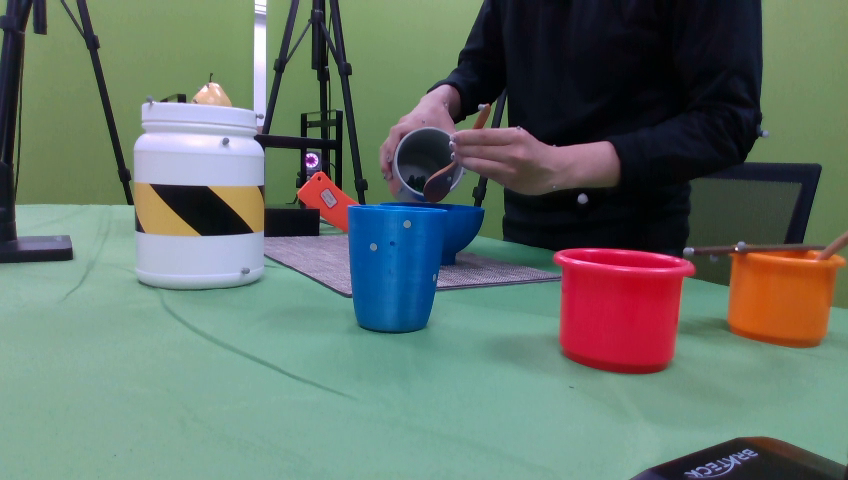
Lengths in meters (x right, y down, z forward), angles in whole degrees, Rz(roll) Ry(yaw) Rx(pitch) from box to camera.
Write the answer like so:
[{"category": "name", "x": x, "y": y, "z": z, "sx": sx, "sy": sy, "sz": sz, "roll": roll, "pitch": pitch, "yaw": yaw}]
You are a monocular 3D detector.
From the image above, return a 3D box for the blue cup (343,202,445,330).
[{"category": "blue cup", "x": -0.027, "y": 0.021, "z": 0.510, "sx": 0.093, "sy": 0.100, "sz": 0.092, "roll": 3, "pitch": 5, "yaw": 0}]

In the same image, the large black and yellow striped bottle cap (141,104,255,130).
[{"category": "large black and yellow striped bottle cap", "x": -0.241, "y": -0.131, "z": 0.650, "sx": 0.115, "sy": 0.019, "sz": 0.115, "roll": 3, "pitch": 8, "yaw": 0}]

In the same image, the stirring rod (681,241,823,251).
[{"category": "stirring rod", "x": 0.289, "y": 0.005, "z": 0.525, "sx": 0.177, "sy": 0.006, "sz": 0.014, "roll": -1, "pitch": 5, "yaw": -26}]

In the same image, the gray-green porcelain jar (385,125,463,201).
[{"category": "gray-green porcelain jar", "x": -0.004, "y": -0.109, "z": 0.937, "sx": 0.106, "sy": 0.105, "sz": 0.126, "roll": 1, "pitch": -6, "yaw": -11}]

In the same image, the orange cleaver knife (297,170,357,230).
[{"category": "orange cleaver knife", "x": -0.149, "y": -0.058, "z": 1.170, "sx": 0.212, "sy": 0.077, "sz": 0.012, "roll": 33, "pitch": -15, "yaw": -32}]

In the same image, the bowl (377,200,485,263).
[{"category": "bowl", "x": 0.008, "y": -0.012, "z": 0.841, "sx": 0.151, "sy": 0.077, "sz": 0.151, "roll": 2, "pitch": 8, "yaw": 0}]

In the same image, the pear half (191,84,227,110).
[{"category": "pear half", "x": -0.406, "y": -0.248, "z": 1.128, "sx": 0.070, "sy": 0.088, "sz": 0.031, "roll": 5, "pitch": 7, "yaw": 1}]

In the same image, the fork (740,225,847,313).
[{"category": "fork", "x": 0.323, "y": 0.013, "z": 0.485, "sx": 0.028, "sy": 0.018, "sz": 0.207, "roll": 9, "pitch": -37, "yaw": -5}]

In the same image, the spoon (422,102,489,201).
[{"category": "spoon", "x": 0.043, "y": -0.111, "z": 0.791, "sx": 0.042, "sy": 0.021, "sz": 0.193, "roll": 2, "pitch": -29, "yaw": -23}]

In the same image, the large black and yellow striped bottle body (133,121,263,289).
[{"category": "large black and yellow striped bottle body", "x": -0.243, "y": -0.048, "z": 0.659, "sx": 0.131, "sy": 0.184, "sz": 0.130, "roll": 2, "pitch": 7, "yaw": 0}]

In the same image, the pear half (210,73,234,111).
[{"category": "pear half", "x": -0.402, "y": -0.262, "z": 1.162, "sx": 0.076, "sy": 0.109, "sz": 0.056, "roll": 6, "pitch": 7, "yaw": 2}]

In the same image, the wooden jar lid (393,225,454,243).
[{"category": "wooden jar lid", "x": -0.001, "y": -0.011, "z": 1.058, "sx": 0.108, "sy": 0.020, "sz": 0.108, "roll": 8, "pitch": 5, "yaw": 0}]
